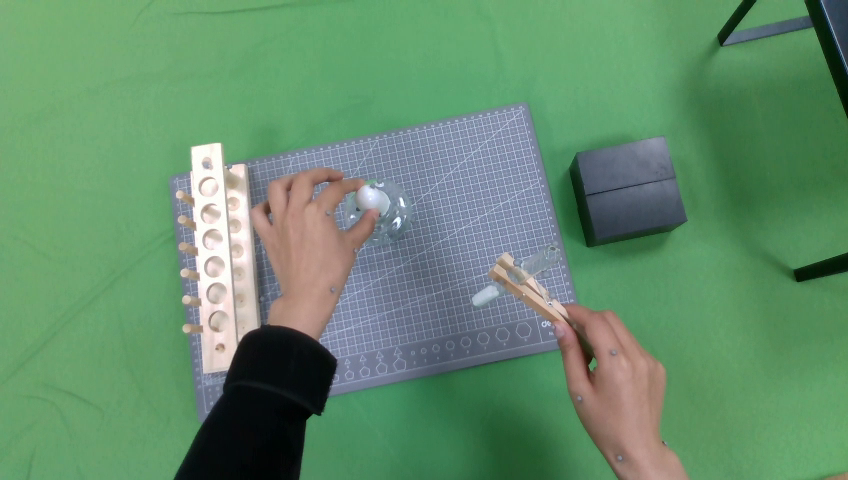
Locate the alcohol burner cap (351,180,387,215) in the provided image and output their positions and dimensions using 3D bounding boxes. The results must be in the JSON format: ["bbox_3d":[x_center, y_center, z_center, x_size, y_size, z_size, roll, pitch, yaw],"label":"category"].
[{"bbox_3d":[-0.060,-0.046,0.634,0.034,0.048,0.033,-1,79,8],"label":"alcohol burner cap"}]

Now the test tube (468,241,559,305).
[{"bbox_3d":[0.075,0.033,0.540,0.017,0.150,0.017,8,67,-19],"label":"test tube"}]

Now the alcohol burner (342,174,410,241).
[{"bbox_3d":[-0.056,-0.039,0.668,0.078,0.119,0.077,0,81,3],"label":"alcohol burner"}]

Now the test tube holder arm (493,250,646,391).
[{"bbox_3d":[0.131,0.073,0.540,0.178,0.015,0.013,41,69,-4],"label":"test tube holder arm"}]

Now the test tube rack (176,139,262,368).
[{"bbox_3d":[-0.237,0.018,0.681,0.067,0.085,0.241,-8,79,1],"label":"test tube rack"}]

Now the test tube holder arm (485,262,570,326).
[{"bbox_3d":[0.092,0.048,0.535,0.088,0.015,0.010,34,69,-6],"label":"test tube holder arm"}]
